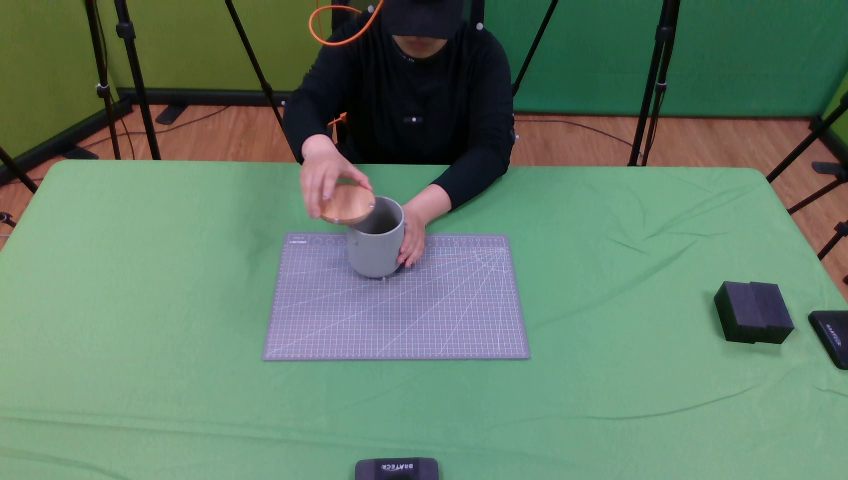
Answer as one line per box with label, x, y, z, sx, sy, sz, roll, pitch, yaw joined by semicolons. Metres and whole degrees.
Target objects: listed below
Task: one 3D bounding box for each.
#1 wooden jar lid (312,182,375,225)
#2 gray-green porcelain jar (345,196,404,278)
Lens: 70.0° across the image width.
wooden jar lid;-0.137;-0.061;1.042;0.108;0.021;0.107;4;41;-3
gray-green porcelain jar;-0.091;-0.001;1.117;0.106;0.127;0.105;3;46;-2
